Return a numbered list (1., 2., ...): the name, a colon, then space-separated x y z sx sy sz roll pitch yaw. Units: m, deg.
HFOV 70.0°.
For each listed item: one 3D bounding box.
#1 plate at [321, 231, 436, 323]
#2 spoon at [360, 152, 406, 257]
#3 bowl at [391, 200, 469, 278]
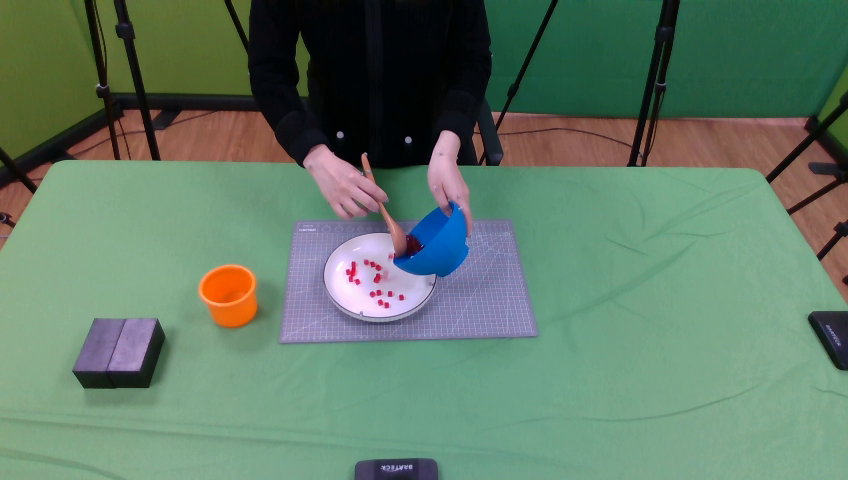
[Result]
1. plate: -0.083 0.070 1.109 0.209 0.038 0.208 3 46 -3
2. spoon: -0.072 -0.059 1.036 0.021 0.194 0.041 -11 22 37
3. bowl: 0.024 0.012 1.043 0.077 0.151 0.151 44 47 -15
